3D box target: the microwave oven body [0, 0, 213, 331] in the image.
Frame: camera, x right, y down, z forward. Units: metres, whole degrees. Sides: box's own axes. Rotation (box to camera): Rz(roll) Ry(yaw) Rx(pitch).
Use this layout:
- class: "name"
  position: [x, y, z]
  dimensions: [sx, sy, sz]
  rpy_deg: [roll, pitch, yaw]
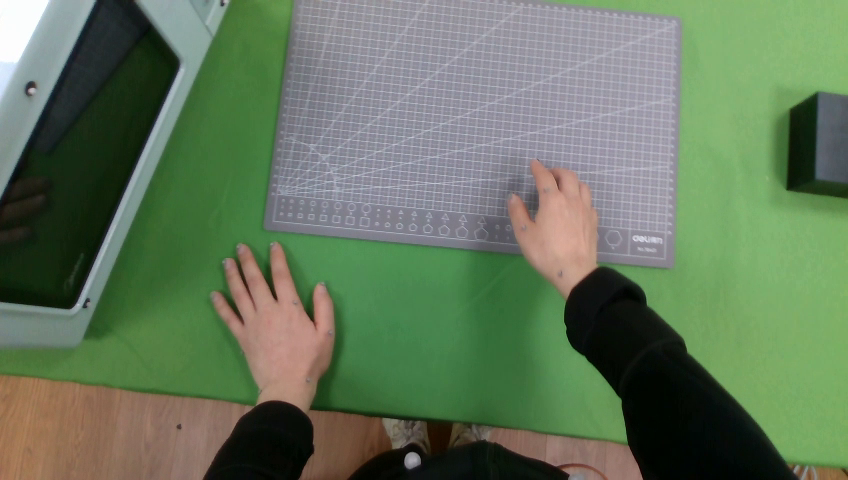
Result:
- class: "microwave oven body"
  position: [-0.426, -0.171, 0.533]
  dimensions: [0.326, 0.260, 0.440]
  rpy_deg: [19, 82, 0]

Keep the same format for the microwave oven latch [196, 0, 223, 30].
- class: "microwave oven latch"
  position: [-0.231, -0.271, 0.655]
  dimensions: [0.030, 0.029, 0.079]
  rpy_deg: [21, 82, 0]

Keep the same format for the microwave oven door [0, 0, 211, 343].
- class: "microwave oven door"
  position: [-0.301, -0.084, 0.521]
  dimensions: [0.039, 0.244, 0.355]
  rpy_deg: [19, 81, 1]
